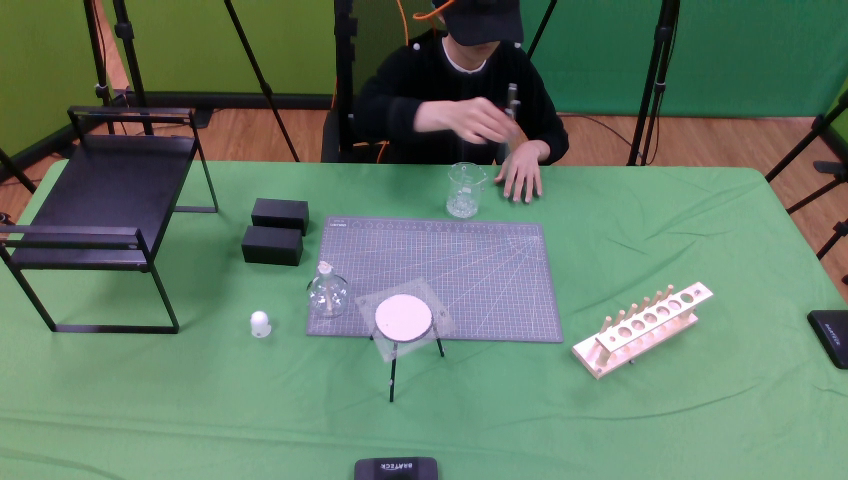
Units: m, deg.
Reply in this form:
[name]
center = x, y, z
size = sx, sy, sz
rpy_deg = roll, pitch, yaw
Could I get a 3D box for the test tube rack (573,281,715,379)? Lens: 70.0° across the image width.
[test tube rack]
center = 0.378, 0.140, 1.038
size = 0.242, 0.085, 0.066
rpy_deg = -22, 51, -22

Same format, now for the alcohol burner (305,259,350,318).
[alcohol burner]
center = -0.166, 0.078, 1.040
size = 0.078, 0.120, 0.077
rpy_deg = 1, 44, -1

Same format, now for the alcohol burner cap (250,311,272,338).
[alcohol burner cap]
center = -0.278, 0.141, 1.026
size = 0.034, 0.048, 0.033
rpy_deg = 1, 46, -1

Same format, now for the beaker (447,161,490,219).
[beaker]
center = 0.087, -0.099, 1.243
size = 0.084, 0.101, 0.073
rpy_deg = 5, 46, 1

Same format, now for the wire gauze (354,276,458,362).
[wire gauze]
center = -0.029, 0.113, 0.912
size = 0.121, 0.011, 0.124
rpy_deg = -18, 49, -19

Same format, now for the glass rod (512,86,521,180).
[glass rod]
center = 0.159, -0.179, 1.046
size = 0.008, 0.201, 0.008
rpy_deg = -2, 48, 3

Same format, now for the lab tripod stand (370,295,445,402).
[lab tripod stand]
center = -0.036, 0.160, 0.959
size = 0.148, 0.132, 0.147
rpy_deg = 1, 46, 0
